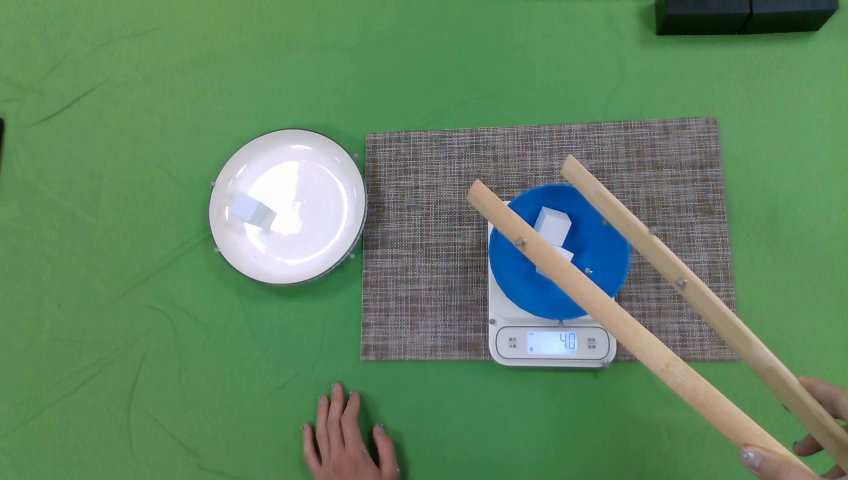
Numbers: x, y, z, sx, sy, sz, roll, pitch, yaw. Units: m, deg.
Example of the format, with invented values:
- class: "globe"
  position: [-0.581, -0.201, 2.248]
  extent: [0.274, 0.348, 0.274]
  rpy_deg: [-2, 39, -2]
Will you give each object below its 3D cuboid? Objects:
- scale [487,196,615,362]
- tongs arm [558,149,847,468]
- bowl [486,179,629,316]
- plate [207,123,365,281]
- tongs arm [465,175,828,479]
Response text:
- class: "scale"
  position: [0.151, 0.044, 0.729]
  extent: [0.148, 0.032, 0.200]
  rpy_deg: [-1, 79, 7]
- class: "tongs arm"
  position: [0.226, 0.054, 0.510]
  extent: [0.051, 0.027, 0.381]
  rpy_deg: [-16, 55, -36]
- class: "bowl"
  position: [0.145, 0.014, 0.682]
  extent: [0.151, 0.077, 0.150]
  rpy_deg: [-1, 79, 5]
- class: "plate"
  position: [-0.176, -0.048, 0.786]
  extent: [0.207, 0.039, 0.206]
  rpy_deg: [-1, 79, 6]
- class: "tongs arm"
  position: [0.171, 0.073, 0.467]
  extent: [0.384, 0.028, 0.028]
  rpy_deg: [43, 41, 21]
